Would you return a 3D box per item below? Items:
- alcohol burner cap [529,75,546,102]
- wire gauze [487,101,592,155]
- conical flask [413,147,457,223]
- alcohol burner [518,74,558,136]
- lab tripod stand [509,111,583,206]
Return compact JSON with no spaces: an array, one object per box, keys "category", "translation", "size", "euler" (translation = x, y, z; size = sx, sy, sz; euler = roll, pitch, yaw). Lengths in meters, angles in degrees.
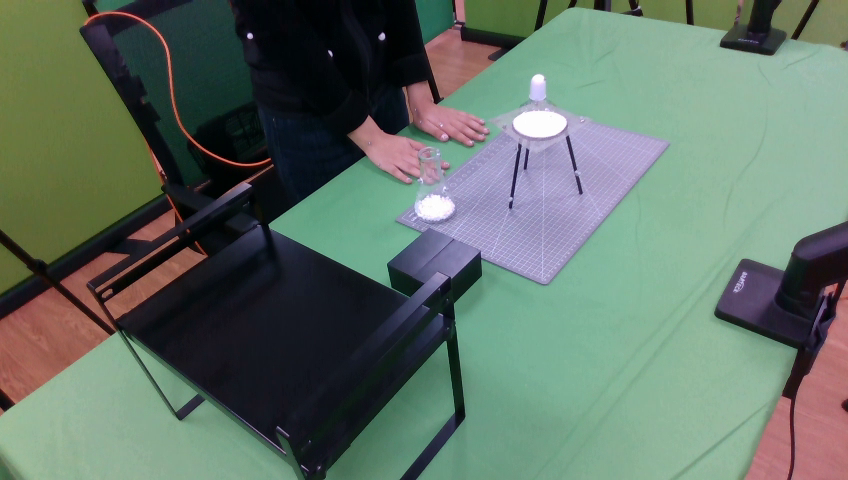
[{"category":"alcohol burner cap","translation":[0.217,-0.292,1.156],"size":[0.034,0.048,0.033],"euler":[-4,46,4]},{"category":"wire gauze","translation":[0.185,-0.187,0.974],"size":[0.122,0.011,0.124],"euler":[-27,44,-23]},{"category":"conical flask","translation":[0.013,-0.094,1.003],"size":[0.075,0.122,0.075],"euler":[-5,41,4]},{"category":"alcohol burner","translation":[0.222,-0.265,1.179],"size":[0.078,0.119,0.077],"euler":[-5,39,5]},{"category":"lab tripod stand","translation":[0.197,-0.139,1.020],"size":[0.148,0.132,0.147],"euler":[-3,39,3]}]
